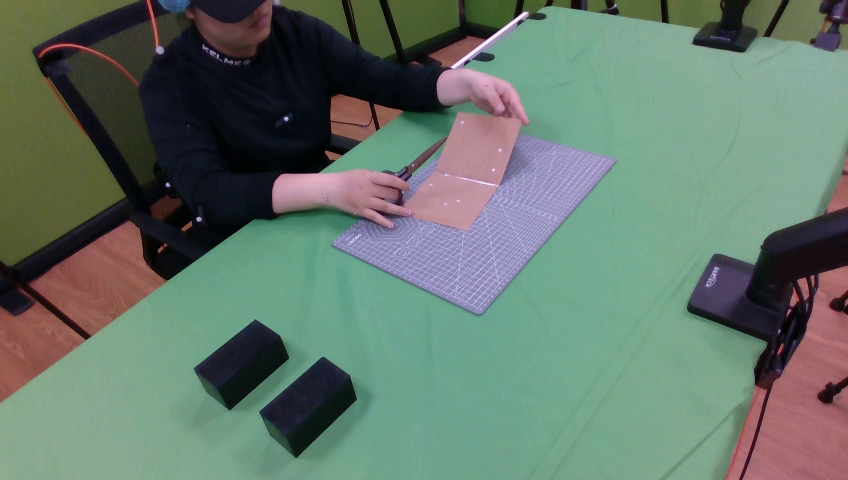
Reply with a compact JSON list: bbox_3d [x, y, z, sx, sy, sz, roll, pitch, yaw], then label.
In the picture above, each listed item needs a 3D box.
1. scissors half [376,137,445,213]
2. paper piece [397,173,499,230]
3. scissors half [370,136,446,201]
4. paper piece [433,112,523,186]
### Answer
[{"bbox_3d":[-0.022,-0.110,1.025,0.175,0.013,0.039,-48,54,17],"label":"scissors half"},{"bbox_3d":[0.044,-0.072,1.055,0.135,0.004,0.135,16,44,25],"label":"paper piece"},{"bbox_3d":[-0.030,-0.125,1.035,0.174,0.013,0.040,-34,65,25],"label":"scissors half"},{"bbox_3d":[0.099,-0.171,1.115,0.135,0.009,0.138,15,76,23],"label":"paper piece"}]
